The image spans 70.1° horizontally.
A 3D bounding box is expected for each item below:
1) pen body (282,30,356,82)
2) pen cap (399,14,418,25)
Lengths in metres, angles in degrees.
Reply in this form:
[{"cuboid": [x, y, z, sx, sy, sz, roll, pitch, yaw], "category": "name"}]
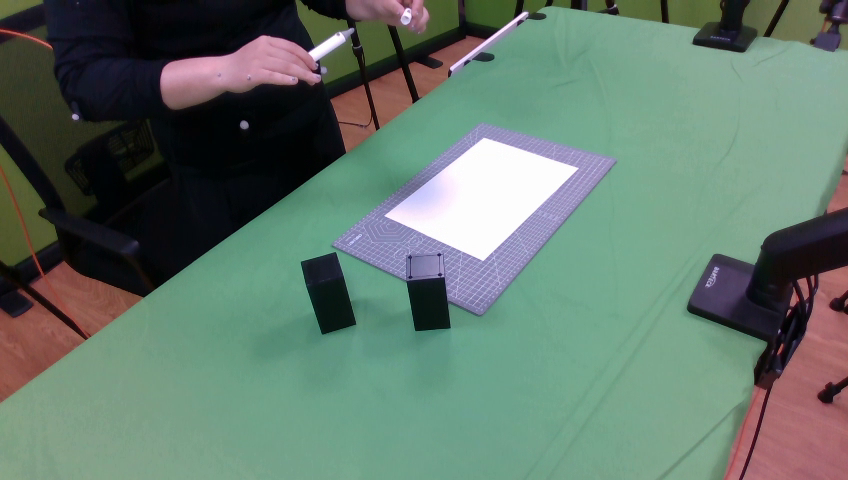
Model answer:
[{"cuboid": [-0.157, -0.283, 0.920, 0.144, 0.017, 0.017, -42, 50, -21], "category": "pen body"}, {"cuboid": [-0.026, -0.374, 1.026, 0.017, 0.017, 0.038, 18, 30, 27], "category": "pen cap"}]
